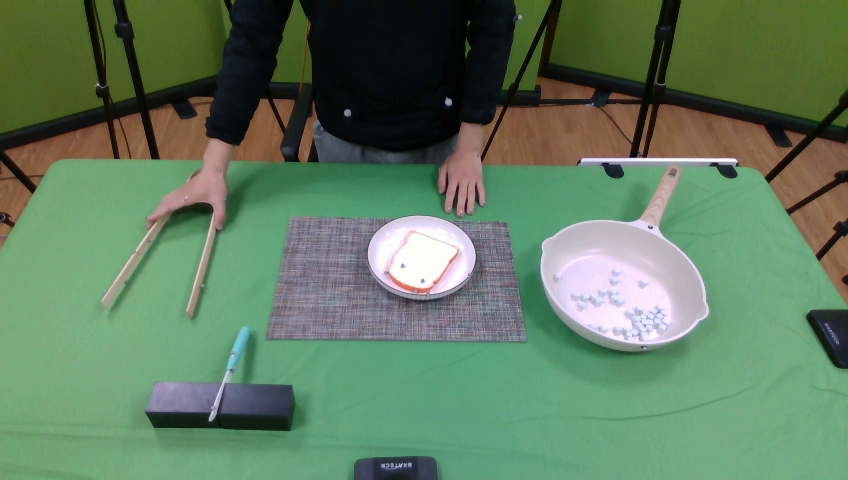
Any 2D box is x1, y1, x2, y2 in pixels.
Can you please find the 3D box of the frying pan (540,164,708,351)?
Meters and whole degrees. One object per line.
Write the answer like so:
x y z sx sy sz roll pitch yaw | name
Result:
0.407 0.012 1.160 0.306 0.103 0.486 26 58 18 | frying pan

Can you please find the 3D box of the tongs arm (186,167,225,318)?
-0.420 -0.009 1.169 0.028 0.028 0.385 -3 46 -3 | tongs arm

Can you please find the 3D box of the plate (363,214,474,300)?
-0.010 0.036 1.146 0.208 0.039 0.206 2 46 -2 | plate

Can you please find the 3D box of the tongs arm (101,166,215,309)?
-0.499 -0.018 1.166 0.051 0.026 0.382 8 45 3 | tongs arm

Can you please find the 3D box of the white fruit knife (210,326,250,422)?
-0.301 0.201 0.942 0.016 0.027 0.206 1 32 -1 | white fruit knife

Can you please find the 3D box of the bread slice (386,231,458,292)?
-0.007 0.043 1.142 0.107 0.018 0.134 18 46 14 | bread slice
